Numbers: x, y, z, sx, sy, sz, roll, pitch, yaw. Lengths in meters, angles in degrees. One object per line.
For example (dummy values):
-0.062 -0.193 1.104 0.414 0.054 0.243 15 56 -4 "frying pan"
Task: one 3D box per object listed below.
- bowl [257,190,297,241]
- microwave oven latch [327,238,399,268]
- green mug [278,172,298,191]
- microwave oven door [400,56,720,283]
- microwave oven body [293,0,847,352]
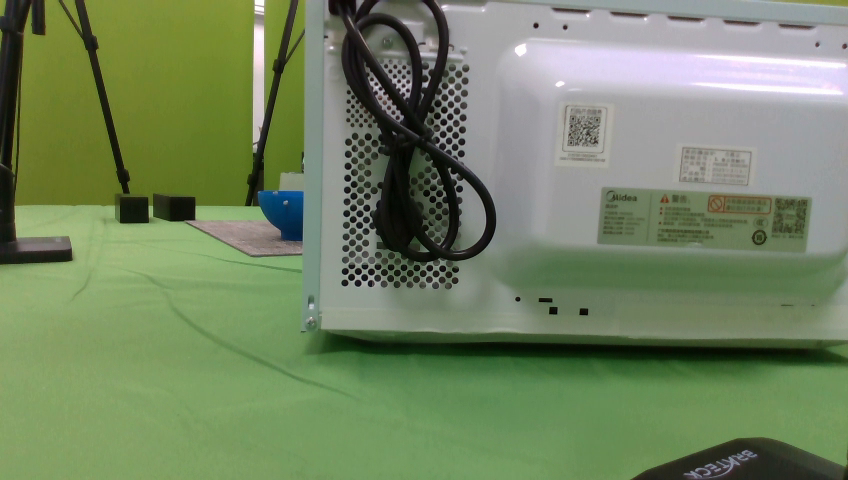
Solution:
-0.206 -0.041 1.027 0.151 0.077 0.151 3 8 0 "bowl"
-0.069 0.014 0.694 0.079 0.029 0.030 3 7 -3 "microwave oven latch"
-0.250 -0.089 1.279 0.092 0.105 0.126 9 9 40 "green mug"
0.155 -0.077 0.697 0.356 0.243 0.039 2 8 -5 "microwave oven door"
0.122 -0.055 0.550 0.442 0.260 0.325 3 7 -5 "microwave oven body"
